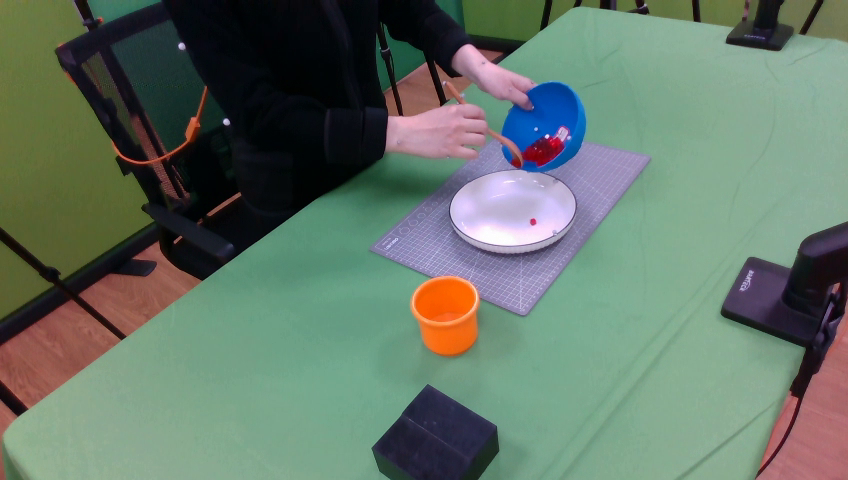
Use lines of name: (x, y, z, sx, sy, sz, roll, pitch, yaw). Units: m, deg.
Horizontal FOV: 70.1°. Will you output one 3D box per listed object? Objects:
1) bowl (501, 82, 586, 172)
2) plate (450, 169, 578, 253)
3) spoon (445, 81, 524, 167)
bowl: (0.210, -0.173, 0.991, 0.150, 0.077, 0.151, -19, 63, 41)
plate: (0.147, -0.044, 0.994, 0.209, 0.038, 0.208, -5, 40, 5)
spoon: (0.095, -0.174, 0.921, 0.021, 0.195, 0.041, -46, 34, 14)
